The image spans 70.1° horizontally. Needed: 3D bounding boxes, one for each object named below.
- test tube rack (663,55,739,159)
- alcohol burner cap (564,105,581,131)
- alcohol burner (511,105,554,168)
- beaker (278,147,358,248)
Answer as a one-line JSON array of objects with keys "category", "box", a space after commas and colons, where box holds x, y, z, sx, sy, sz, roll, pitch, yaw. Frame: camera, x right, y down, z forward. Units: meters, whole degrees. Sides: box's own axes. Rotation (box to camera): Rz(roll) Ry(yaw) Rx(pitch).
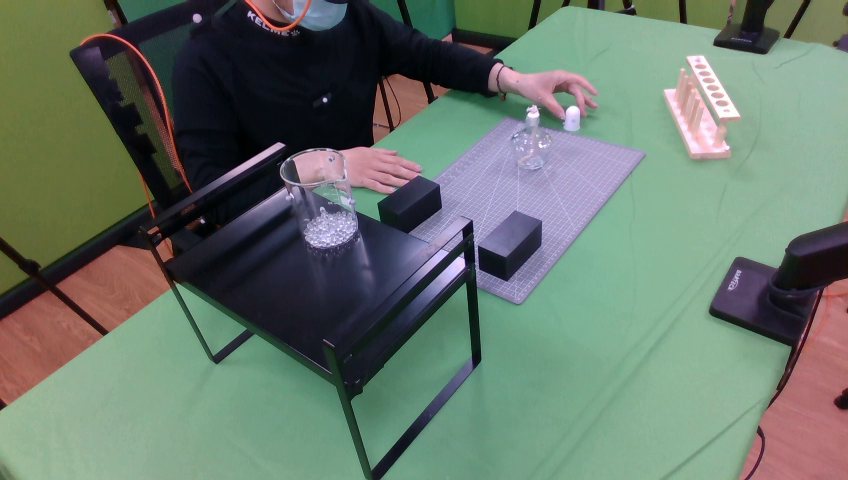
[{"category": "test tube rack", "box": [0.518, -0.256, 1.144, 0.066, 0.085, 0.241, -1, 41, 8]}, {"category": "alcohol burner cap", "box": [0.294, -0.243, 1.195, 0.034, 0.048, 0.033, -4, 40, 4]}, {"category": "alcohol burner", "box": [0.196, -0.190, 1.088, 0.078, 0.119, 0.077, -3, 42, 3]}, {"category": "beaker", "box": [-0.117, -0.046, 0.705, 0.083, 0.101, 0.074, 17, 47, 25]}]
